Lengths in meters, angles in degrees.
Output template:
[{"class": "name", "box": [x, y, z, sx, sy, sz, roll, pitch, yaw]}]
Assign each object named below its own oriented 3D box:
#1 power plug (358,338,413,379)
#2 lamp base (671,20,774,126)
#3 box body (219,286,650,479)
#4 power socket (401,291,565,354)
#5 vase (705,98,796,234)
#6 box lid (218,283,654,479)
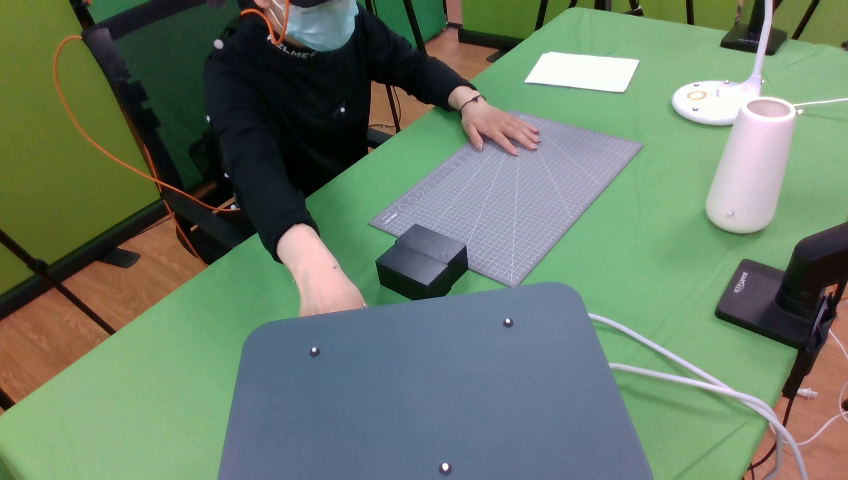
[{"class": "power plug", "box": [-0.052, 0.158, 0.798, 0.073, 0.035, 0.052, 18, 51, -16]}, {"class": "lamp base", "box": [0.581, -0.332, 1.153, 0.179, 0.181, 0.160, 2, 41, 7]}, {"class": "box body", "box": [0.005, 0.210, 0.618, 0.364, 0.161, 0.252, -8, 40, -1]}, {"class": "power socket", "box": [0.079, 0.111, 0.823, 0.227, 0.033, 0.072, -5, 41, 1]}, {"class": "vase", "box": [0.480, -0.103, 0.889, 0.098, 0.201, 0.097, -4, 42, 4]}, {"class": "box lid", "box": [-0.004, 0.154, 0.571, 0.372, 0.015, 0.261, -8, 40, -1]}]
